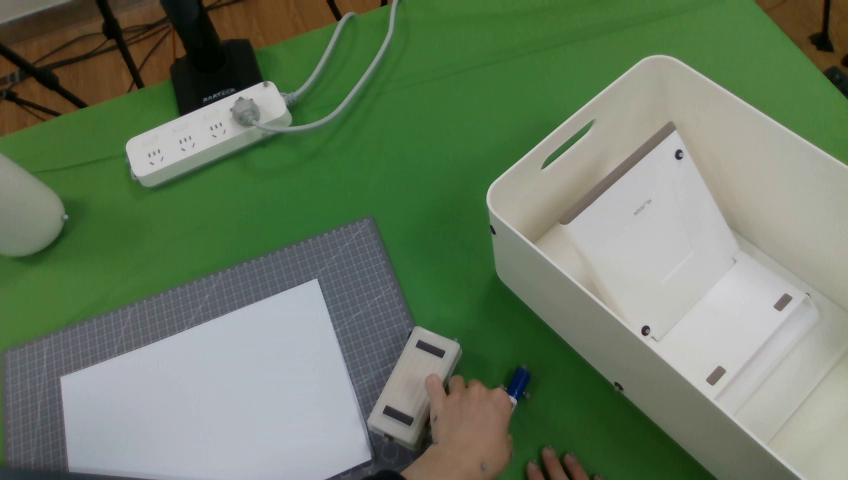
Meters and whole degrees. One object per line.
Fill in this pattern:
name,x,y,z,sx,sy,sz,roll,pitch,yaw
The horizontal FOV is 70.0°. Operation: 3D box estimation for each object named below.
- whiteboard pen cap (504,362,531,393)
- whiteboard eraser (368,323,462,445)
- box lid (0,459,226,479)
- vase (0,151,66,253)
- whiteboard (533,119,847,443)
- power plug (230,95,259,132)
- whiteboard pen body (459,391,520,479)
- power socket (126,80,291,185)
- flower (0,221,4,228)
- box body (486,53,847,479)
whiteboard pen cap,0.095,0.143,0.617,0.018,0.018,0.033,23,67,18
whiteboard eraser,-0.008,0.143,0.611,0.055,0.042,0.112,20,66,17
box lid,-0.303,0.349,0.554,0.371,0.015,0.261,2,63,7
vase,-0.506,-0.064,0.686,0.098,0.202,0.097,-3,62,6
whiteboard,0.261,0.024,0.593,0.217,0.145,0.303,-40,64,-17
power plug,-0.226,-0.152,0.773,0.035,0.053,0.072,-16,68,-3
whiteboard pen body,0.067,0.190,0.595,0.017,0.017,0.140,25,69,18
power socket,-0.283,-0.143,0.799,0.227,0.033,0.071,-25,63,-8
flower,-0.493,-0.103,0.612,0.038,0.363,0.044,27,58,0
box body,0.266,0.029,0.577,0.254,0.162,0.361,-40,65,-15
